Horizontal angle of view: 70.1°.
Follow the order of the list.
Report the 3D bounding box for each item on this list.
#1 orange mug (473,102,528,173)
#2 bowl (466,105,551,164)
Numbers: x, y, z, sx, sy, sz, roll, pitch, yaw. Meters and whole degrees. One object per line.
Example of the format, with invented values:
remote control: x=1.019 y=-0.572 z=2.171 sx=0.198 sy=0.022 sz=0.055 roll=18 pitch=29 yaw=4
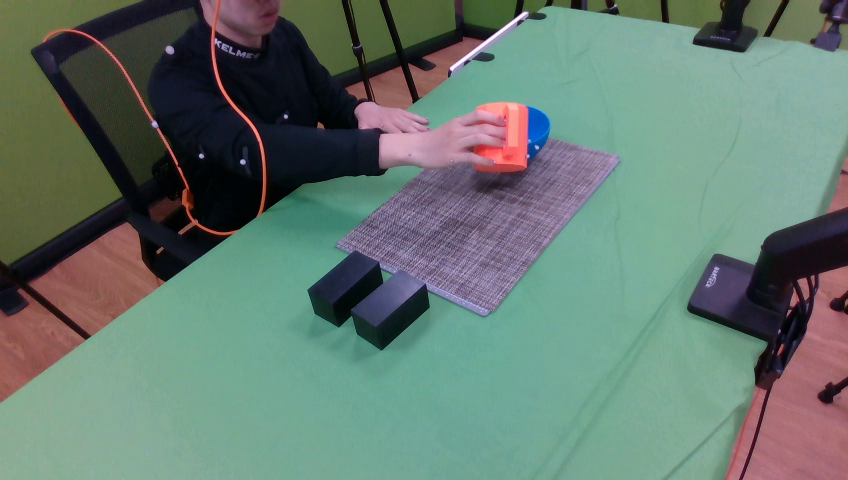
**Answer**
orange mug: x=0.126 y=-0.165 z=0.955 sx=0.084 sy=0.126 sz=0.100 roll=2 pitch=82 yaw=-8
bowl: x=0.155 y=-0.177 z=1.105 sx=0.151 sy=0.077 sz=0.150 roll=-4 pitch=40 yaw=4
